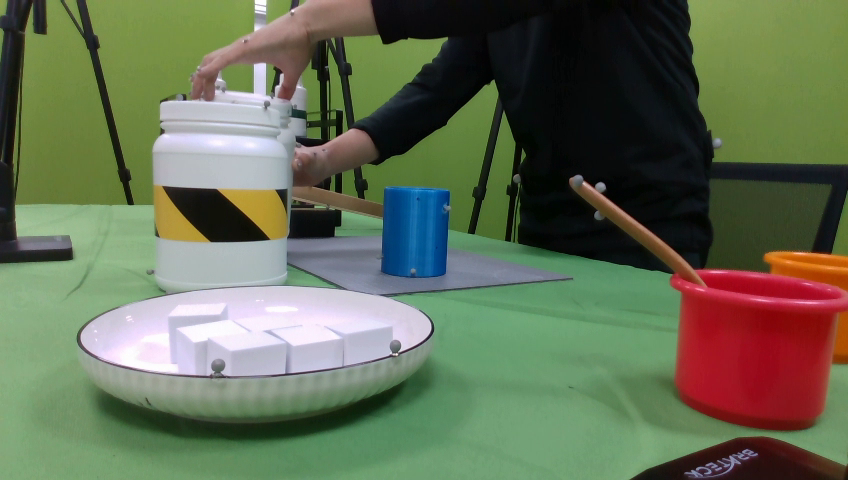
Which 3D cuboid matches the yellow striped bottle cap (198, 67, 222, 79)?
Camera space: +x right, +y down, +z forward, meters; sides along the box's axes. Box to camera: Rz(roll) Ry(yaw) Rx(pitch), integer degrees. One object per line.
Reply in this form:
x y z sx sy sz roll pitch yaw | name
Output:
-0.412 -0.320 1.163 0.044 0.018 0.044 1 6 0 | yellow striped bottle cap

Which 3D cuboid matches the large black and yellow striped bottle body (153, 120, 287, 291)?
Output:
-0.208 -0.043 0.626 0.131 0.184 0.130 2 7 0 | large black and yellow striped bottle body

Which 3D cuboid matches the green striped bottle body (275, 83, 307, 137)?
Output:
-0.269 -0.269 1.221 0.063 0.119 0.063 2 7 0 | green striped bottle body

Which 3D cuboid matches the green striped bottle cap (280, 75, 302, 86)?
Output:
-0.267 -0.320 1.216 0.044 0.020 0.044 4 9 0 | green striped bottle cap

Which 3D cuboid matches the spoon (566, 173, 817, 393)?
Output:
0.161 0.024 0.370 0.193 0.021 0.042 47 18 3 | spoon

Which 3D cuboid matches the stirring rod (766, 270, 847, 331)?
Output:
0.352 0.020 0.484 0.176 0.006 0.014 -40 -7 12 | stirring rod

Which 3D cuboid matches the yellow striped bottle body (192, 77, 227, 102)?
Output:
-0.414 -0.268 1.169 0.063 0.120 0.063 2 7 0 | yellow striped bottle body

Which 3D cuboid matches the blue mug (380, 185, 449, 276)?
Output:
-0.018 -0.016 0.764 0.083 0.106 0.116 -2 8 -24 | blue mug

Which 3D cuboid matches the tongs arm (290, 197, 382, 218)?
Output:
-0.165 -0.074 1.216 0.389 0.027 0.028 11 -6 -24 | tongs arm

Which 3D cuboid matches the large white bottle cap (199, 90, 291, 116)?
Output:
-0.230 -0.178 0.781 0.115 0.018 0.114 7 16 -2 | large white bottle cap

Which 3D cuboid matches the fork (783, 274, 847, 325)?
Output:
0.332 0.018 0.443 0.028 0.018 0.207 -1 -36 -15 | fork

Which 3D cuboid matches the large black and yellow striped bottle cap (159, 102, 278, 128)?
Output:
-0.207 -0.125 0.615 0.115 0.019 0.115 2 6 0 | large black and yellow striped bottle cap

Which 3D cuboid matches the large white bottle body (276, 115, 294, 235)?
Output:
-0.241 -0.095 0.804 0.131 0.184 0.130 7 15 -2 | large white bottle body

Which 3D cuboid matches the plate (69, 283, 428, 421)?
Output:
-0.102 0.066 0.381 0.208 0.039 0.207 2 7 0 | plate

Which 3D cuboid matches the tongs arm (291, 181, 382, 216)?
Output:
-0.122 -0.066 1.147 0.387 0.026 0.050 11 -3 -37 | tongs arm
